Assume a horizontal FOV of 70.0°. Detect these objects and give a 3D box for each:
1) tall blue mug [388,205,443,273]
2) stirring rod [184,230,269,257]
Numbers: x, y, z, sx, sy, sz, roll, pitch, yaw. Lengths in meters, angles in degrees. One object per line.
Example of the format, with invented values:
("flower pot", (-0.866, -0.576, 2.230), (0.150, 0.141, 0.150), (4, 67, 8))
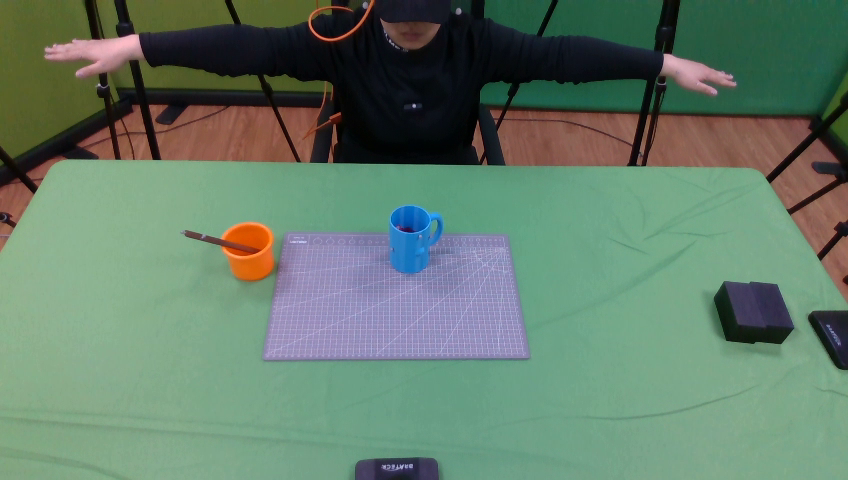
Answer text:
("tall blue mug", (-0.020, -0.010, 1.143), (0.077, 0.108, 0.107), (23, 49, 18))
("stirring rod", (-0.349, 0.007, 1.083), (0.177, 0.006, 0.014), (21, 30, -51))
